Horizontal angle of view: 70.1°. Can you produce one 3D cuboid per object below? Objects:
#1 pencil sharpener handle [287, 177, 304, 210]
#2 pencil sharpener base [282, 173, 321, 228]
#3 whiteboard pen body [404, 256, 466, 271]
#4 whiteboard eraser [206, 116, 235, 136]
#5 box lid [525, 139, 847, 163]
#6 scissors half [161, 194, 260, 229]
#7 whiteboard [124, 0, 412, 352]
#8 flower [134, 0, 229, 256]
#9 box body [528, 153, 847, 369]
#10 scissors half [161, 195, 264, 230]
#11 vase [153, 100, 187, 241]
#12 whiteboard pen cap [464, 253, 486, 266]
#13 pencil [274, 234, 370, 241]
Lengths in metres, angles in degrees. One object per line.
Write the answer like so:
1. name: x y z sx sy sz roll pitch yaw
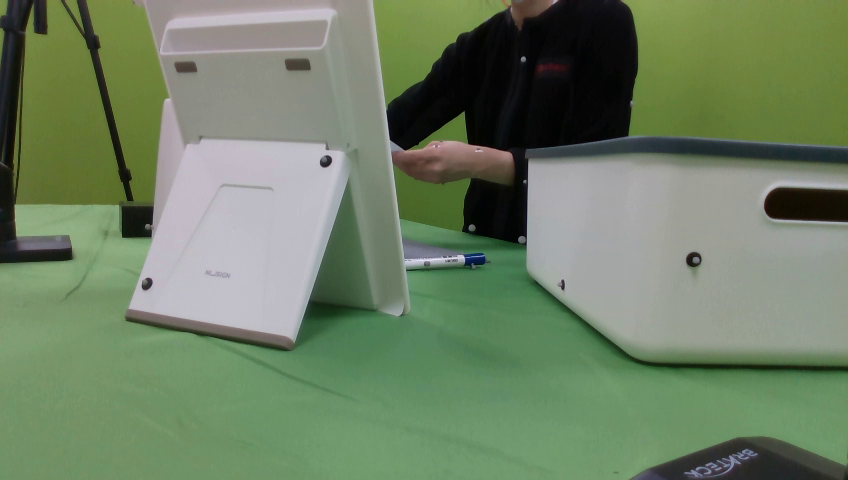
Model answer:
1. pencil sharpener handle: -0.269 -0.096 1.257 0.036 0.067 0.030 -8 8 -27
2. pencil sharpener base: -0.247 -0.080 1.212 0.061 0.107 0.076 -2 5 -28
3. whiteboard pen body: 0.012 0.030 0.792 0.141 0.017 0.017 -2 9 -25
4. whiteboard eraser: -0.450 -0.252 1.335 0.056 0.042 0.112 1 7 -22
5. box lid: 0.261 -0.078 0.580 0.264 0.015 0.371 2 7 -4
6. scissors half: -0.372 -0.050 1.064 0.176 0.013 0.040 21 -6 -35
7. whiteboard: -0.151 -0.049 0.472 0.216 0.305 0.144 6 27 24
8. flower: -0.282 -0.146 0.713 0.038 0.362 0.044 -23 24 -31
9. box body: 0.258 -0.005 0.591 0.254 0.160 0.363 2 7 -4
10. scissors half: -0.363 -0.049 1.046 0.176 0.013 0.040 18 -10 -17
11. vase: -0.278 -0.066 0.736 0.098 0.200 0.098 2 9 0
12. whiteboard pen cap: 0.066 0.027 0.817 0.033 0.018 0.018 -6 10 -23
13. pencil: -0.169 -0.006 1.036 0.195 0.012 0.012 -2 9 -45
